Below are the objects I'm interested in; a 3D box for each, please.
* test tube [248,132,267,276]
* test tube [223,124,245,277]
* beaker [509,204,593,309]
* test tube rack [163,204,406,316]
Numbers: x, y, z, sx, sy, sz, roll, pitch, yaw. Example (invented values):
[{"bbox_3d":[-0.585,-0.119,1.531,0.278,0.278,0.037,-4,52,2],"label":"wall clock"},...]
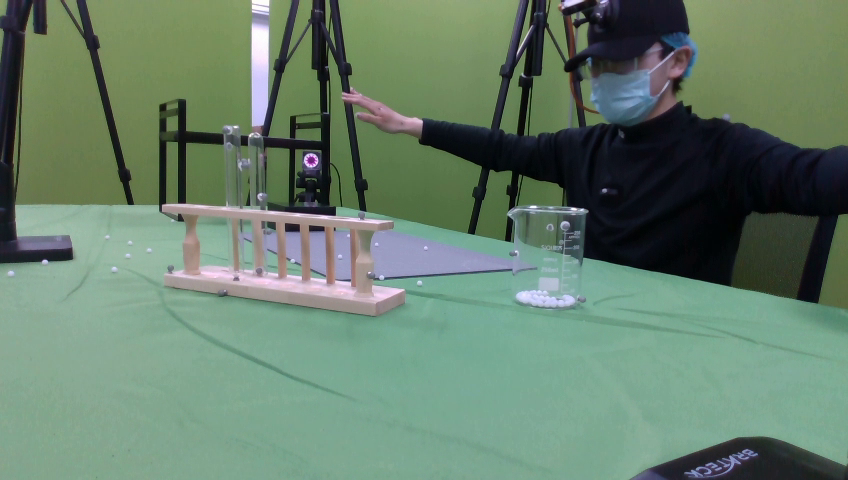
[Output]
[{"bbox_3d":[-0.173,-0.036,0.629,0.017,0.150,0.017,0,7,0],"label":"test tube"},{"bbox_3d":[-0.186,-0.037,0.592,0.017,0.150,0.017,1,11,0],"label":"test tube"},{"bbox_3d":[0.126,0.015,0.613,0.084,0.100,0.074,1,7,-5],"label":"beaker"},{"bbox_3d":[-0.141,0.013,0.601,0.241,0.085,0.067,5,8,21],"label":"test tube rack"}]
